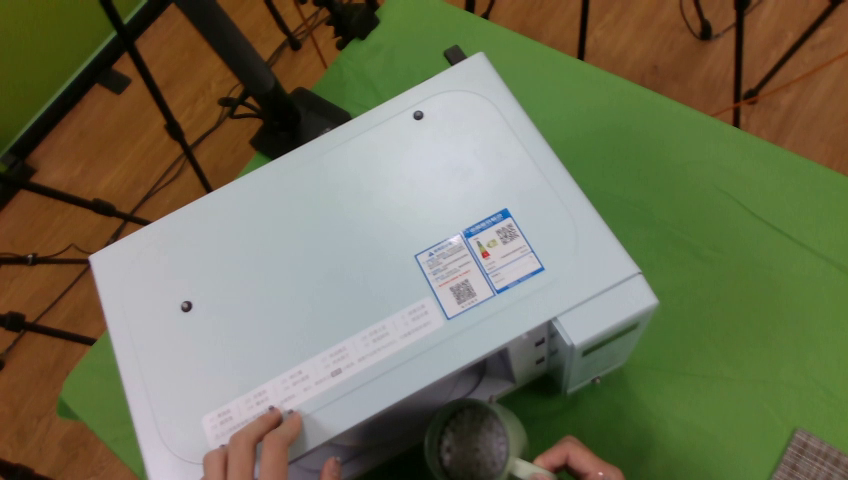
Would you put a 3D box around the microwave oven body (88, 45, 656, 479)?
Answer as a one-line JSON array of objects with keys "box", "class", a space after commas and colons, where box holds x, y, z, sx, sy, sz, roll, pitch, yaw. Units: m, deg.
[{"box": [-0.052, 0.063, 0.647, 0.442, 0.262, 0.323, -28, 66, -1], "class": "microwave oven body"}]

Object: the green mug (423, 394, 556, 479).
[{"box": [0.064, 0.198, 0.577, 0.124, 0.106, 0.092, 17, 75, 21], "class": "green mug"}]

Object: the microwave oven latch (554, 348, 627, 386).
[{"box": [0.187, 0.133, 0.680, 0.079, 0.030, 0.030, -27, 66, 0], "class": "microwave oven latch"}]
